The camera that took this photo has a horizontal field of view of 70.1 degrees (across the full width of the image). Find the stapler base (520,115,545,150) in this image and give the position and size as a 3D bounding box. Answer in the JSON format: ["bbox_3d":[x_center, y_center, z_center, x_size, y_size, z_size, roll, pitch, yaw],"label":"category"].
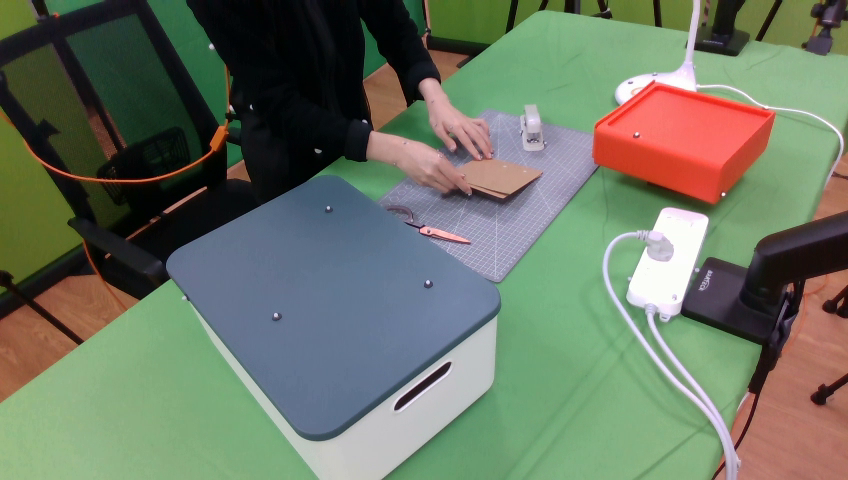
[{"bbox_3d":[0.216,-0.221,1.201,0.041,0.024,0.130,0,39,4],"label":"stapler base"}]

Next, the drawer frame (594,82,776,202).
[{"bbox_3d":[0.428,-0.171,1.006,0.211,0.083,0.202,29,51,36],"label":"drawer frame"}]

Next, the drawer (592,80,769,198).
[{"bbox_3d":[0.423,-0.174,1.008,0.210,0.073,0.195,30,52,35],"label":"drawer"}]

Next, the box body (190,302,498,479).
[{"bbox_3d":[-0.110,0.103,0.761,0.255,0.161,0.361,-33,46,-27],"label":"box body"}]

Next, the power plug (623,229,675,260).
[{"bbox_3d":[0.327,0.007,0.878,0.072,0.053,0.035,25,51,33],"label":"power plug"}]

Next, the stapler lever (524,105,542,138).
[{"bbox_3d":[0.213,-0.241,1.186,0.027,0.040,0.117,0,39,4],"label":"stapler lever"}]

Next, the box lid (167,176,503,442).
[{"bbox_3d":[-0.119,0.047,0.714,0.264,0.015,0.368,-32,47,-27],"label":"box lid"}]

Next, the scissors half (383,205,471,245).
[{"bbox_3d":[0.002,-0.024,1.005,0.174,0.013,0.040,24,52,26],"label":"scissors half"}]

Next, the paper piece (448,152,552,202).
[{"bbox_3d":[0.133,-0.117,1.077,0.136,0.004,0.134,-29,43,-33],"label":"paper piece"}]

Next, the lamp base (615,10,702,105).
[{"bbox_3d":[0.484,-0.364,1.211,0.180,0.181,0.159,-15,41,-14],"label":"lamp base"}]

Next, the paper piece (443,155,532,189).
[{"bbox_3d":[0.127,-0.121,1.083,0.137,0.008,0.137,18,28,30],"label":"paper piece"}]

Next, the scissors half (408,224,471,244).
[{"bbox_3d":[-0.007,-0.012,0.991,0.174,0.013,0.040,9,42,13],"label":"scissors half"}]

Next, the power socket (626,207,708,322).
[{"bbox_3d":[0.360,0.026,0.886,0.072,0.033,0.227,16,46,26],"label":"power socket"}]
